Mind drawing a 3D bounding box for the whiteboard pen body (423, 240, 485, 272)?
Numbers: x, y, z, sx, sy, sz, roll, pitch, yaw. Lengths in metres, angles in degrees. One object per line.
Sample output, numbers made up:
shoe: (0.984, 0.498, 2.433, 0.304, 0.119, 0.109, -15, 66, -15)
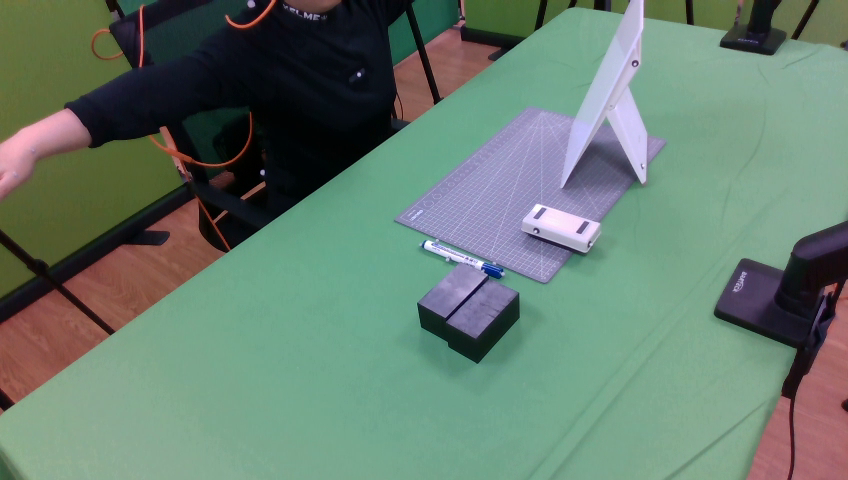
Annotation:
whiteboard pen body: (0.057, 0.027, 0.942, 0.139, 0.017, 0.017, 21, 48, 30)

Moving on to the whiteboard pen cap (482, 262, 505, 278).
whiteboard pen cap: (0.104, 0.044, 0.912, 0.033, 0.018, 0.018, 22, 48, 29)

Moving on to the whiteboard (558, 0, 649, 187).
whiteboard: (0.361, -0.238, 1.026, 0.144, 0.306, 0.217, 20, 44, 3)

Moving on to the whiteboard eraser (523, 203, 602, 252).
whiteboard eraser: (0.216, -0.018, 0.945, 0.112, 0.042, 0.056, 20, 46, 29)
